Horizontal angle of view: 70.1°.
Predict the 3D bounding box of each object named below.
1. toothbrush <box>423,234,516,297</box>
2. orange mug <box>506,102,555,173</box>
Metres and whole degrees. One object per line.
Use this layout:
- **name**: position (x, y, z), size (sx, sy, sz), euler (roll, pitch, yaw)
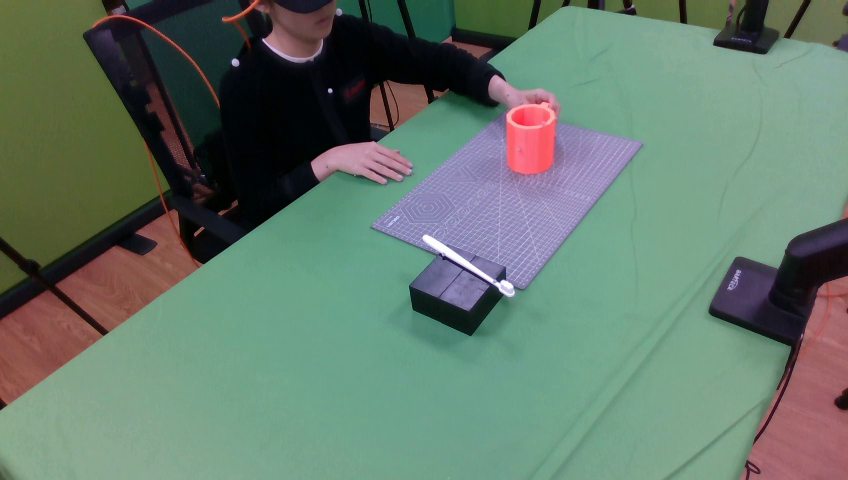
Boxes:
- **toothbrush**: position (0.060, 0.031, 0.859), size (0.014, 0.017, 0.180), euler (-36, 48, -25)
- **orange mug**: position (0.203, -0.197, 1.109), size (0.083, 0.101, 0.126), euler (20, 52, 29)
